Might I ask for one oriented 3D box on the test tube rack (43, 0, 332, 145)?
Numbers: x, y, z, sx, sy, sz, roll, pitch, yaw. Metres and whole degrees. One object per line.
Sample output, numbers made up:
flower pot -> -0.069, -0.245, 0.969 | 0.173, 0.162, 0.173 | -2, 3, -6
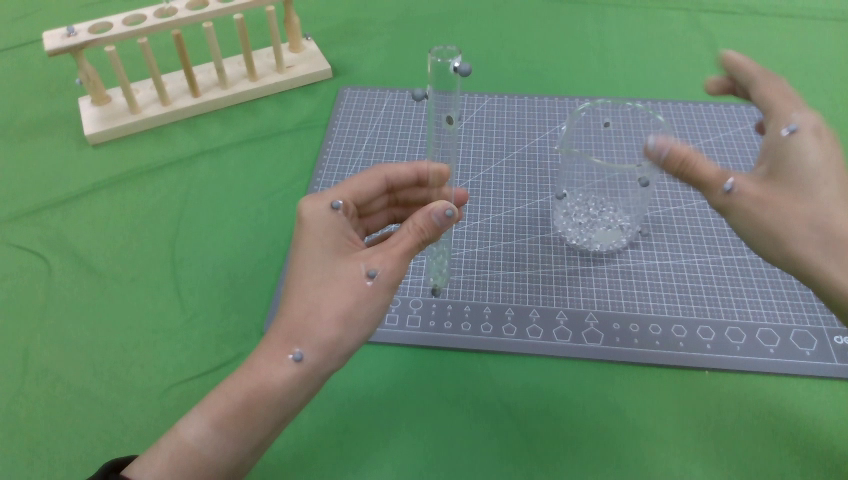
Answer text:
test tube rack -> -0.220, -0.180, 0.592 | 0.243, 0.086, 0.066 | -21, 53, -16

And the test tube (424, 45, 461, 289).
test tube -> 0.008, -0.029, 0.321 | 0.017, 0.151, 0.017 | 1, 42, 0

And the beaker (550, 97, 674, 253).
beaker -> 0.134, -0.045, 0.459 | 0.084, 0.101, 0.073 | -11, 50, -7

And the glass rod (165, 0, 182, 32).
glass rod -> -0.232, -0.223, 0.541 | 0.008, 0.201, 0.008 | 2, 52, -2
